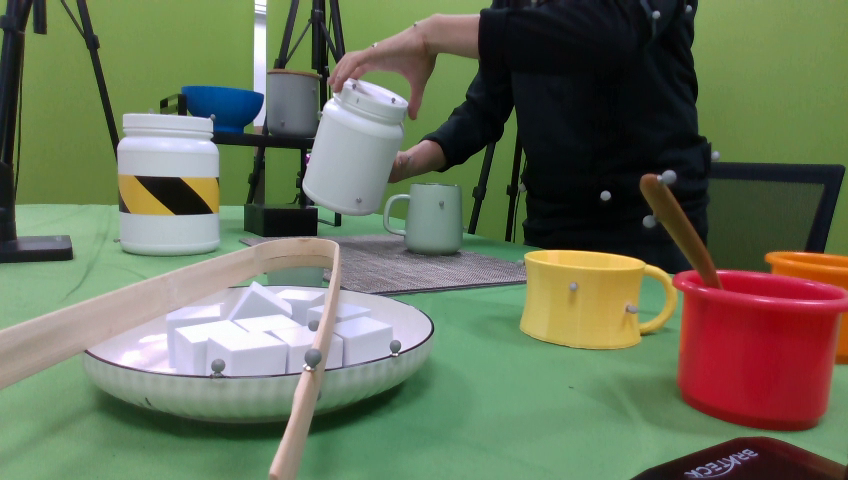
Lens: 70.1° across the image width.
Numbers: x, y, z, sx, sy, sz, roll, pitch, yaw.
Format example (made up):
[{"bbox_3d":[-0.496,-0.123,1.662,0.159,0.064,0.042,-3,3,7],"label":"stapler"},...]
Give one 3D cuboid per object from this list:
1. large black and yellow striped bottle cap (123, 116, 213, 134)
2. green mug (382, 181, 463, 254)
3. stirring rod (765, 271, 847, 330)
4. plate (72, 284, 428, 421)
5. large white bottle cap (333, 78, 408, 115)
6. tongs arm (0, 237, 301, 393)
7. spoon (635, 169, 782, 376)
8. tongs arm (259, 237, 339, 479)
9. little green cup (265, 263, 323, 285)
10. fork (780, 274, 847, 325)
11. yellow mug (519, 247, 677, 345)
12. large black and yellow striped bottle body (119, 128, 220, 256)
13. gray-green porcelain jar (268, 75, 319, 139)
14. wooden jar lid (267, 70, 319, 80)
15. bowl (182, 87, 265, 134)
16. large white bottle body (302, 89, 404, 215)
[{"bbox_3d":[-0.353,-0.159,0.838,0.115,0.019,0.115,2,6,0],"label":"large black and yellow striped bottle cap"},{"bbox_3d":[-0.001,-0.036,0.922,0.126,0.105,0.092,0,8,-16],"label":"green mug"},{"bbox_3d":[0.352,0.020,0.481,0.176,0.006,0.014,-40,-7,17],"label":"stirring rod"},{"bbox_3d":[-0.102,0.066,0.381,0.208,0.039,0.207,3,7,0],"label":"plate"},{"bbox_3d":[-0.081,-0.219,0.923,0.115,0.018,0.114,17,23,-7],"label":"large white bottle cap"},{"bbox_3d":[-0.158,0.039,0.346,0.028,0.028,0.388,-3,8,11],"label":"tongs arm"},{"bbox_3d":[0.161,0.026,0.346,0.041,0.194,0.021,10,56,53],"label":"spoon"},{"bbox_3d":[-0.074,0.040,0.345,0.051,0.026,0.384,-2,9,-3],"label":"tongs arm"},{"bbox_3d":[-0.134,0.033,0.627,0.061,0.038,0.061,3,7,0],"label":"little green cup"},{"bbox_3d":[0.332,0.018,0.443,0.028,0.018,0.207,-3,-35,-16],"label":"fork"},{"bbox_3d":[0.148,0.045,0.513,0.131,0.064,0.100,3,7,0],"label":"yellow mug"},{"bbox_3d":[-0.355,-0.076,0.850,0.131,0.184,0.130,2,8,0],"label":"large black and yellow striped bottle body"},{"bbox_3d":[-0.277,-0.279,1.280,0.106,0.126,0.106,2,8,0],"label":"gray-green porcelain jar"},{"bbox_3d":[-0.275,-0.340,1.271,0.108,0.020,0.108,5,6,0],"label":"wooden jar lid"},{"bbox_3d":[-0.383,-0.244,1.158,0.151,0.077,0.151,2,7,0],"label":"bowl"},{"bbox_3d":[-0.108,-0.146,0.956,0.131,0.184,0.130,18,23,-8],"label":"large white bottle body"}]
